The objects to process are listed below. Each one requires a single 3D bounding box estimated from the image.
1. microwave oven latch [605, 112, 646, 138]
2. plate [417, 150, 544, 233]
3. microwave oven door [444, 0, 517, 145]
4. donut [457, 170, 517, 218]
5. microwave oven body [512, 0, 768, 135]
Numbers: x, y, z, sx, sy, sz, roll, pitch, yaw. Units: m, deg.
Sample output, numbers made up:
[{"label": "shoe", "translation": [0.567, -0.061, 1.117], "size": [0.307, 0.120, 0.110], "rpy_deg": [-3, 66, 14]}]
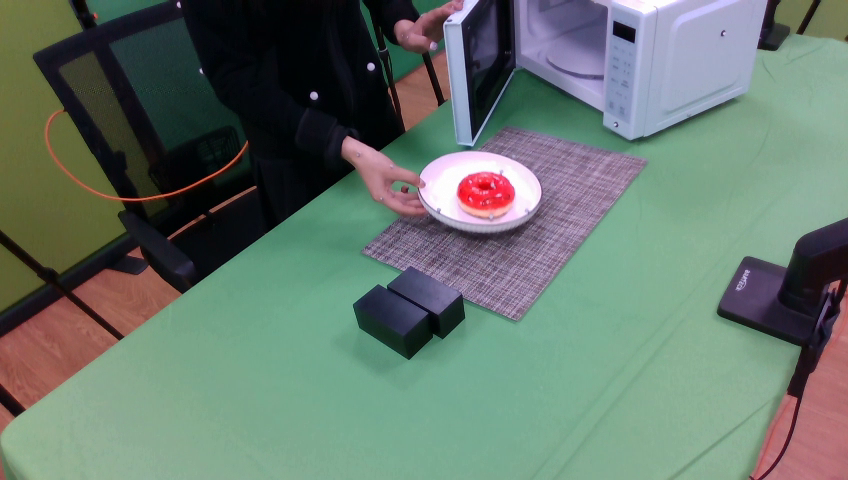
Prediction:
[{"label": "microwave oven latch", "translation": [0.375, -0.217, 1.130], "size": [0.030, 0.029, 0.078], "rpy_deg": [-25, 42, -16]}, {"label": "plate", "translation": [0.091, -0.077, 1.002], "size": [0.209, 0.038, 0.208], "rpy_deg": [2, 42, -2]}, {"label": "microwave oven door", "translation": [0.124, -0.390, 1.223], "size": [0.039, 0.245, 0.355], "rpy_deg": [8, 43, 20]}, {"label": "donut", "translation": [0.102, -0.077, 0.986], "size": [0.099, 0.048, 0.098], "rpy_deg": [1, 43, 0]}, {"label": "microwave oven body", "translation": [0.411, -0.441, 1.235], "size": [0.327, 0.261, 0.437], "rpy_deg": [-25, 42, -16]}]
